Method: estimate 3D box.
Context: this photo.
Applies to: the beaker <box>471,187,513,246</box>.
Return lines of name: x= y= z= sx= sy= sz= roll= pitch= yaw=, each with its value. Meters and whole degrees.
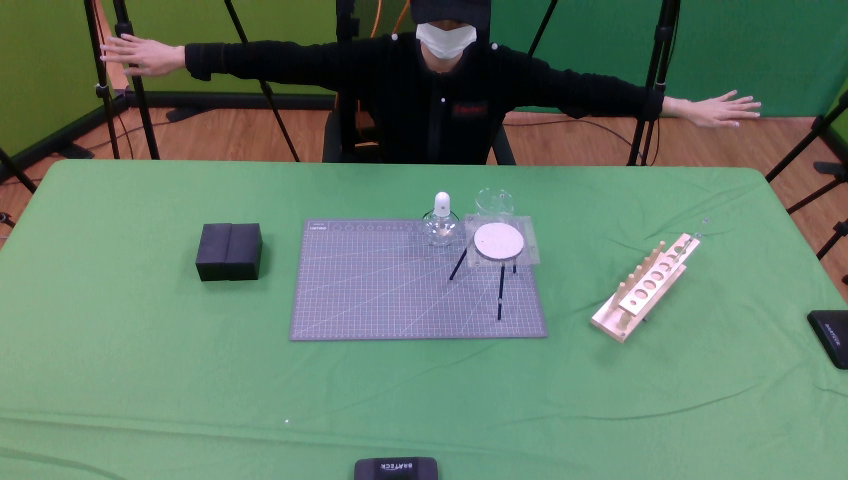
beaker: x=0.134 y=-0.042 z=1.190 sx=0.083 sy=0.101 sz=0.074 roll=34 pitch=53 yaw=25

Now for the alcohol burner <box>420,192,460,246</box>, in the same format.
alcohol burner: x=0.032 y=-0.046 z=1.176 sx=0.078 sy=0.120 sz=0.077 roll=2 pitch=44 yaw=-1

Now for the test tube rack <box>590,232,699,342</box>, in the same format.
test tube rack: x=0.407 y=0.074 z=1.112 sx=0.066 sy=0.085 sz=0.242 roll=35 pitch=53 yaw=26

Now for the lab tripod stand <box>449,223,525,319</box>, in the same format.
lab tripod stand: x=0.120 y=0.046 z=1.080 sx=0.148 sy=0.132 sz=0.147 roll=1 pitch=47 yaw=-1

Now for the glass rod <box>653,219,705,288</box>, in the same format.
glass rod: x=0.444 y=0.032 z=1.063 sx=0.008 sy=0.200 sz=0.008 roll=5 pitch=49 yaw=-6

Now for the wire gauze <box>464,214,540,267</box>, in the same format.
wire gauze: x=0.131 y=-0.002 z=1.034 sx=0.121 sy=0.011 sz=0.124 roll=1 pitch=45 yaw=-2

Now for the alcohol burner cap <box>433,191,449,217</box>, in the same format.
alcohol burner cap: x=0.033 y=-0.070 z=1.150 sx=0.034 sy=0.048 sz=0.033 roll=1 pitch=44 yaw=0
